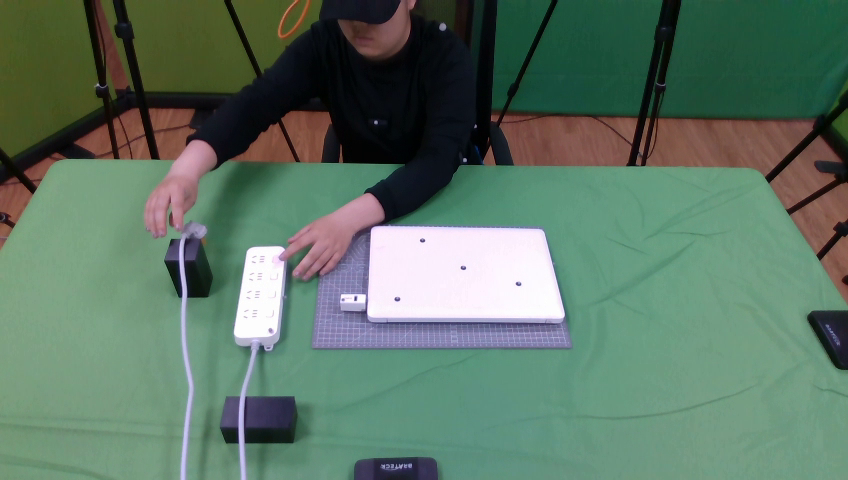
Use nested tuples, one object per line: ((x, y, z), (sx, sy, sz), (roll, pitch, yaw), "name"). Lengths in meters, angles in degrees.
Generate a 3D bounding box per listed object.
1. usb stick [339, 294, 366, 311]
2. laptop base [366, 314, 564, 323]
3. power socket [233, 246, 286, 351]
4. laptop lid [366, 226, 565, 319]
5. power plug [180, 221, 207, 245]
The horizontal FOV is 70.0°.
((-0.119, 0.111, 1.068), (0.059, 0.027, 0.021), (4, 47, -5), "usb stick")
((0.071, 0.064, 1.144), (0.355, 0.023, 0.234), (1, 42, -4), "laptop base")
((-0.290, 0.094, 1.077), (0.072, 0.033, 0.225), (-2, 47, -5), "power socket")
((0.071, 0.054, 1.137), (0.357, 0.013, 0.240), (2, 44, -3), "laptop lid")
((-0.410, -0.002, 1.068), (0.035, 0.053, 0.072), (-3, 40, 22), "power plug")
